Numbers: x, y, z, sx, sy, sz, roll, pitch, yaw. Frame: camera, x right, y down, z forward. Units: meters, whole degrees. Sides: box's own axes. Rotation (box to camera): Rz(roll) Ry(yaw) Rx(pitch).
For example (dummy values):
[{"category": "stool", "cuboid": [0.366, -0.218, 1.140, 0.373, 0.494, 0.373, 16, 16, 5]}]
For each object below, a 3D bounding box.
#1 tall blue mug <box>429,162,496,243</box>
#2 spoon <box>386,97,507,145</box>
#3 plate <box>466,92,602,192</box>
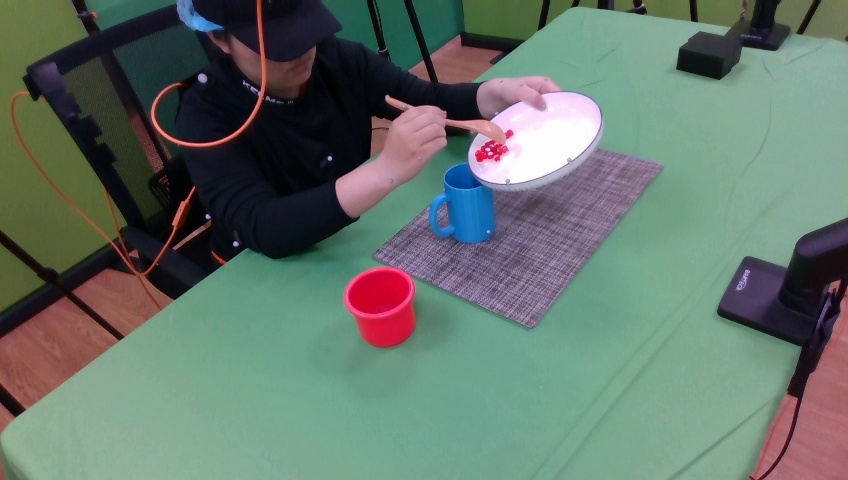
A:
[{"category": "tall blue mug", "cuboid": [0.067, -0.051, 0.961, 0.077, 0.108, 0.107, 18, 47, 28]}, {"category": "spoon", "cuboid": [0.036, -0.177, 0.894, 0.194, 0.021, 0.041, 12, 47, -12]}, {"category": "plate", "cuboid": [0.166, -0.143, 0.912, 0.207, 0.039, 0.206, -19, 40, 17]}]
